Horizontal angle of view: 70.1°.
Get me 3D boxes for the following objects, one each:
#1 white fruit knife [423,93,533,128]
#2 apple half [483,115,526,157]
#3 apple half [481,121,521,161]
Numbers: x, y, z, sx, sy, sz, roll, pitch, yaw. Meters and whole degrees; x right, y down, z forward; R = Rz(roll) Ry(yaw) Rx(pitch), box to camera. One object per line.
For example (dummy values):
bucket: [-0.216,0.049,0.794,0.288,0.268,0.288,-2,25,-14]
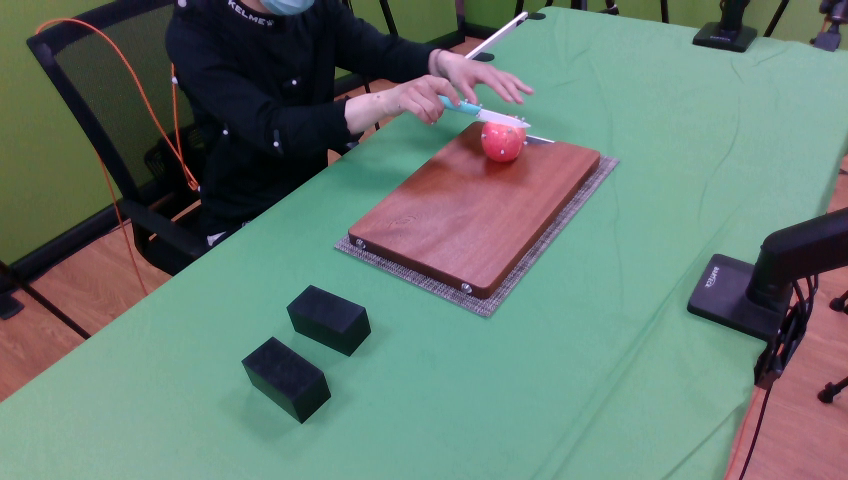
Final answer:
white fruit knife: [0.092,-0.225,1.052,0.206,0.027,0.016,19,54,19]
apple half: [0.149,-0.189,1.083,0.080,0.075,0.053,15,40,30]
apple half: [0.129,-0.167,1.058,0.081,0.081,0.033,18,44,27]
